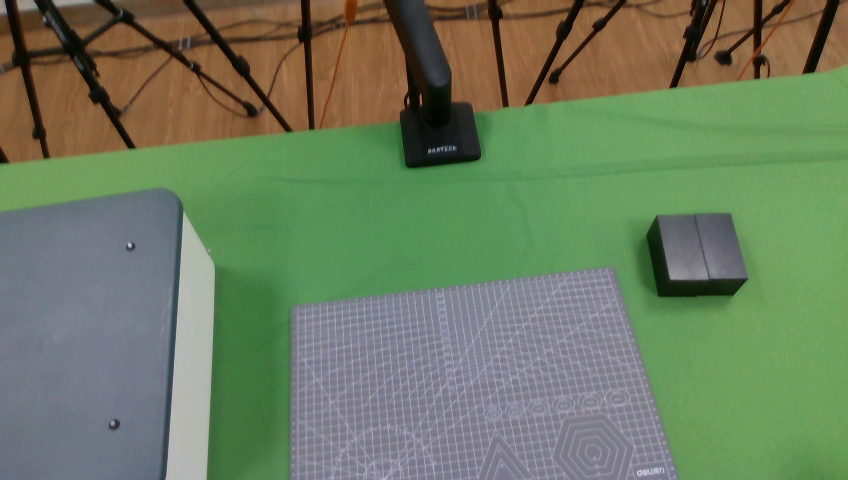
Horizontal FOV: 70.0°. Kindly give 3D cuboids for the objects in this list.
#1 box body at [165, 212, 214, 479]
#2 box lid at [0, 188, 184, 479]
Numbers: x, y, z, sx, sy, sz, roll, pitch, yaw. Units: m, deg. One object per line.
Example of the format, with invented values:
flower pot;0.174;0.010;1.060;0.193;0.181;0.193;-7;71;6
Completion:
box body;-0.395;0.147;0.713;0.254;0.162;0.360;-8;60;-3
box lid;-0.398;0.107;0.650;0.263;0.015;0.368;-8;61;-3
